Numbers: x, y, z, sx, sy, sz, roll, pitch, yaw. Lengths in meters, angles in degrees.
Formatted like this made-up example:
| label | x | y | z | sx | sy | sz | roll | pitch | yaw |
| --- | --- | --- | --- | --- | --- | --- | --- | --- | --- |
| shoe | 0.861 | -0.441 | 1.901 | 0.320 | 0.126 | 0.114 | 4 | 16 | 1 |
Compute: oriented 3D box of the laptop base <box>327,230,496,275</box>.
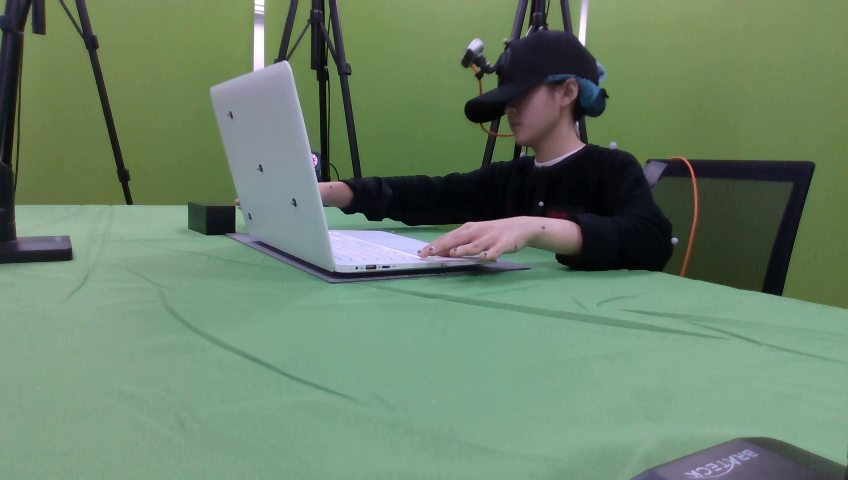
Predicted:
| label | x | y | z | sx | sy | sz | roll | pitch | yaw |
| --- | --- | --- | --- | --- | --- | --- | --- | --- | --- |
| laptop base | -0.090 | 0.016 | 0.884 | 0.237 | 0.023 | 0.352 | 3 | 6 | -32 |

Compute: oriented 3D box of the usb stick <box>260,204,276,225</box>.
| label | x | y | z | sx | sy | sz | roll | pitch | yaw |
| --- | --- | --- | --- | --- | --- | --- | --- | --- | --- |
| usb stick | -0.266 | -0.042 | 1.028 | 0.021 | 0.027 | 0.059 | 13 | 15 | -14 |

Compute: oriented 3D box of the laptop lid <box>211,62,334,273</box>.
| label | x | y | z | sx | sy | sz | roll | pitch | yaw |
| --- | --- | --- | --- | --- | --- | --- | --- | --- | --- |
| laptop lid | -0.211 | -0.095 | 0.791 | 0.013 | 0.241 | 0.355 | -18 | 18 | -29 |
